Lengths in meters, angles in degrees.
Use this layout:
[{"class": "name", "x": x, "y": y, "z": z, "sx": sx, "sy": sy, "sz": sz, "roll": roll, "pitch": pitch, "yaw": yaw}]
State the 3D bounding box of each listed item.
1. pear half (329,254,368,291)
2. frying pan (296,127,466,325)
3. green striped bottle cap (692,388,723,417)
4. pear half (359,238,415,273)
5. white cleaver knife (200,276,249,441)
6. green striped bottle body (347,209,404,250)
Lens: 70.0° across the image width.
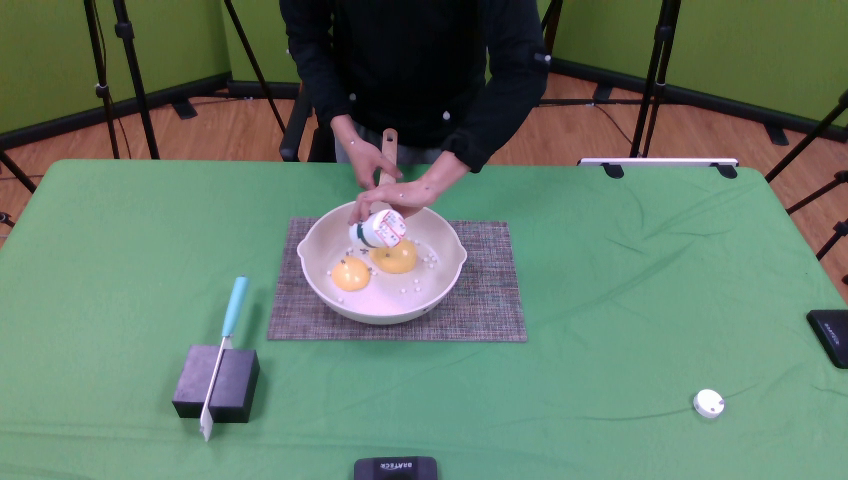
[{"class": "pear half", "x": -0.140, "y": 0.053, "z": 1.122, "sx": 0.070, "sy": 0.031, "sz": 0.087, "roll": -7, "pitch": 51, "yaw": -17}, {"class": "frying pan", "x": -0.076, "y": -0.045, "z": 1.172, "sx": 0.307, "sy": 0.103, "sz": 0.485, "roll": 3, "pitch": 55, "yaw": -2}, {"class": "green striped bottle cap", "x": 0.460, "y": 0.263, "z": 0.984, "sx": 0.044, "sy": 0.020, "sz": 0.044, "roll": 3, "pitch": 47, "yaw": -3}, {"class": "pear half", "x": -0.074, "y": 0.017, "z": 1.146, "sx": 0.110, "sy": 0.056, "sz": 0.076, "roll": 9, "pitch": 41, "yaw": 7}, {"class": "white cleaver knife", "x": -0.321, "y": 0.177, "z": 0.972, "sx": 0.021, "sy": 0.066, "sz": 0.284, "roll": 7, "pitch": 48, "yaw": -5}, {"class": "green striped bottle body", "x": -0.091, "y": -0.017, "z": 1.058, "sx": 0.063, "sy": 0.063, "sz": 0.119, "roll": -35, "pitch": 14, "yaw": -32}]
